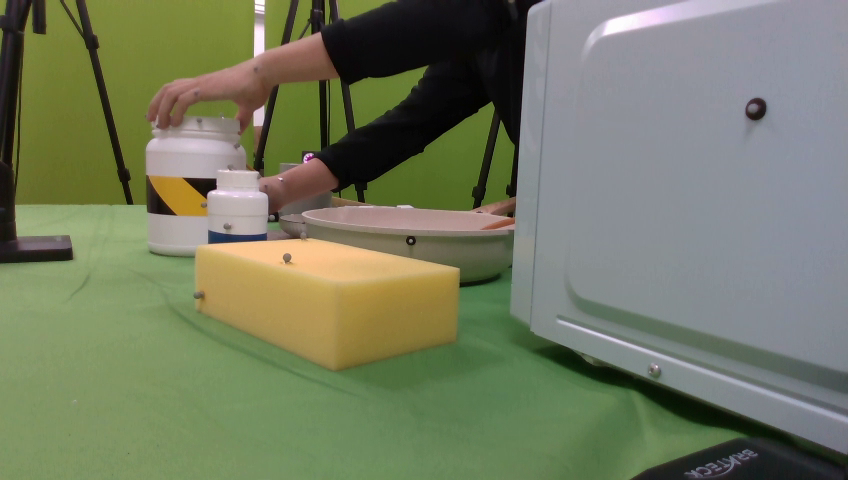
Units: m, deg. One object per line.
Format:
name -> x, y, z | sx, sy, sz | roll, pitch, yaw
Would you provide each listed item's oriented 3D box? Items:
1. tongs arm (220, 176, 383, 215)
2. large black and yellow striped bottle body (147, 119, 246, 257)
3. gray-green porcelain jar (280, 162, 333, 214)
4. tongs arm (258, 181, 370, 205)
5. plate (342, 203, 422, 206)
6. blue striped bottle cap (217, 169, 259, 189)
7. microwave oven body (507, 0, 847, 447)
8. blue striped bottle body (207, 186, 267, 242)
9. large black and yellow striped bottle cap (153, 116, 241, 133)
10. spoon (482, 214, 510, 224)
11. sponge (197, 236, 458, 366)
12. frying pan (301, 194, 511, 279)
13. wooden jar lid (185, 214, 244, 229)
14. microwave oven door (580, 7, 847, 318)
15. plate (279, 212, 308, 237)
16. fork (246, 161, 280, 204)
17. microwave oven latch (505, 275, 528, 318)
tongs arm -> -0.285, -0.104, 1.445 | 0.389, 0.027, 0.028 | 9, -4, -23
large black and yellow striped bottle body -> -0.318, -0.075, 0.854 | 0.131, 0.184, 0.130 | 2, 7, 0
gray-green porcelain jar -> -0.238, -0.092, 1.221 | 0.106, 0.126, 0.106 | 2, 7, 0
tongs arm -> -0.241, -0.095, 1.373 | 0.387, 0.026, 0.050 | 9, 0, -37
plate -> -0.089, -0.053, 1.309 | 0.208, 0.039, 0.207 | 2, 8, 0
blue striped bottle cap -> -0.202, -0.067, 0.656 | 0.044, 0.020, 0.044 | 1, 10, 0
microwave oven body -> 0.331, -0.042, 0.425 | 0.444, 0.260, 0.324 | -2, 8, -31
blue striped bottle body -> -0.204, -0.016, 0.663 | 0.063, 0.120, 0.063 | 2, 7, 0
large black and yellow striped bottle cap -> -0.315, -0.161, 0.843 | 0.115, 0.019, 0.115 | 2, 12, 0
spoon -> 0.076, -0.013, 0.794 | 0.193, 0.021, 0.042 | -24, -2, 11
sponge -> -0.087, 0.039, 0.500 | 0.206, 0.061, 0.119 | 8, 9, 44
frying pan -> 0.050, -0.028, 0.864 | 0.305, 0.102, 0.490 | 8, 18, 35
wooden jar lid -> -0.404, -0.037, 1.169 | 0.108, 0.020, 0.108 | 3, 7, 0
microwave oven door -> 0.295, -0.067, 0.570 | 0.358, 0.243, 0.039 | -3, 9, -31
plate -> -0.139, -0.022, 1.020 | 0.209, 0.038, 0.209 | 2, 8, 0
fork -> -0.396, -0.143, 1.486 | 0.028, 0.018, 0.208 | 20, -26, 45
microwave oven latch -> 0.100, 0.041, 0.472 | 0.079, 0.029, 0.030 | -2, 8, -31
